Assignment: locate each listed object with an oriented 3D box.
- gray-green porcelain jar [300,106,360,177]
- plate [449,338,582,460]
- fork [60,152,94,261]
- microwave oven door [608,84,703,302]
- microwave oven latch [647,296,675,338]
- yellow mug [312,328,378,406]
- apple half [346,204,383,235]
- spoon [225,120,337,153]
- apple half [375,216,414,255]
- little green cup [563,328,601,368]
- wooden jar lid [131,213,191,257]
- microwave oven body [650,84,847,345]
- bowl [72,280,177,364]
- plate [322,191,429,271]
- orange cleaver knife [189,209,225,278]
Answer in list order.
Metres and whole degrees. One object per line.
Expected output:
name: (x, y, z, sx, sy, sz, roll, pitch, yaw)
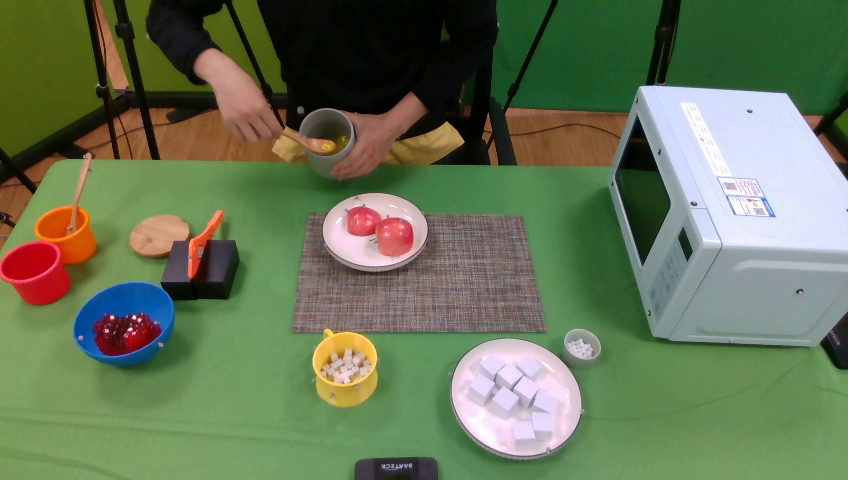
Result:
gray-green porcelain jar: (-0.185, -0.191, 1.215, 0.106, 0.127, 0.105, 0, 74, 0)
plate: (0.141, 0.251, 0.956, 0.208, 0.039, 0.206, 2, 46, -2)
fork: (-0.638, -0.062, 1.119, 0.028, 0.018, 0.207, 12, 90, 7)
microwave oven door: (0.424, -0.096, 1.138, 0.039, 0.245, 0.353, 3, 47, -1)
microwave oven latch: (0.413, 0.133, 1.060, 0.030, 0.029, 0.078, 5, 46, 2)
yellow mug: (-0.132, 0.193, 0.971, 0.100, 0.064, 0.130, -22, 51, -22)
apple half: (-0.119, -0.049, 1.207, 0.081, 0.033, 0.081, 2, 50, -3)
spoon: (-0.251, -0.187, 1.070, 0.194, 0.022, 0.041, 14, 40, -20)
apple half: (-0.056, -0.017, 1.169, 0.075, 0.053, 0.080, 0, 46, -7)
little green cup: (0.265, 0.185, 1.025, 0.061, 0.039, 0.061, 1, 45, -1)
wooden jar lid: (-0.504, -0.008, 1.167, 0.108, 0.021, 0.107, 3, 46, -3)
microwave oven body: (0.569, -0.054, 1.116, 0.326, 0.261, 0.439, 2, 46, -1)
bowl: (-0.473, 0.147, 0.982, 0.151, 0.077, 0.150, 2, 46, -2)
plate: (-0.094, -0.015, 1.185, 0.209, 0.038, 0.208, 2, 46, -2)
orange cleaver knife: (-0.401, 0.002, 1.122, 0.012, 0.077, 0.210, 3, 22, -4)
